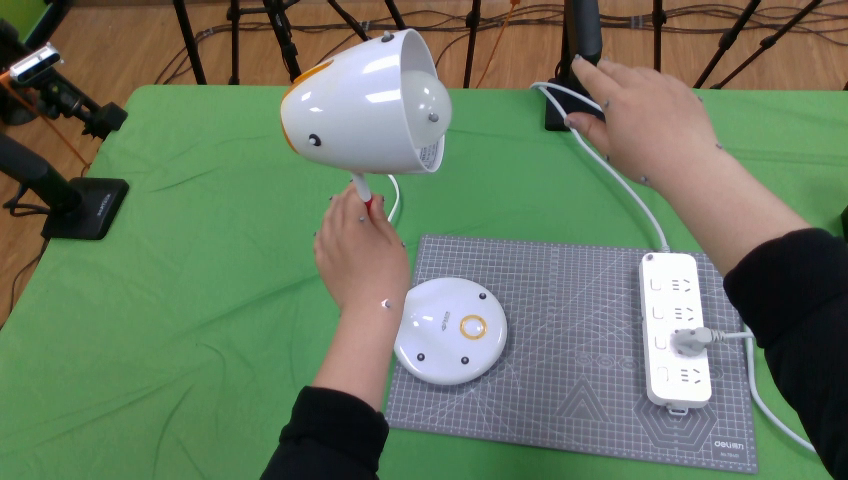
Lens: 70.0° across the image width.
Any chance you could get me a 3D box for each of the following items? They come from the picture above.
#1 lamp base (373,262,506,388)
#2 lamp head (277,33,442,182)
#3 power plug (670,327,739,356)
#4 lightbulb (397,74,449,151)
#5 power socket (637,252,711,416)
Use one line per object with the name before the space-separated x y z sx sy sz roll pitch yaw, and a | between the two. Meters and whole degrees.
lamp base | 0.009 0.084 0.766 0.179 0.182 0.159 -3 56 11
lamp head | -0.054 -0.098 0.497 0.122 0.113 0.111 -10 55 21
power plug | 0.344 0.131 0.751 0.072 0.053 0.035 13 61 13
lightbulb | -0.033 -0.100 0.482 0.107 0.060 0.059 1 57 19
power socket | 0.322 0.113 0.789 0.072 0.033 0.225 3 57 9
